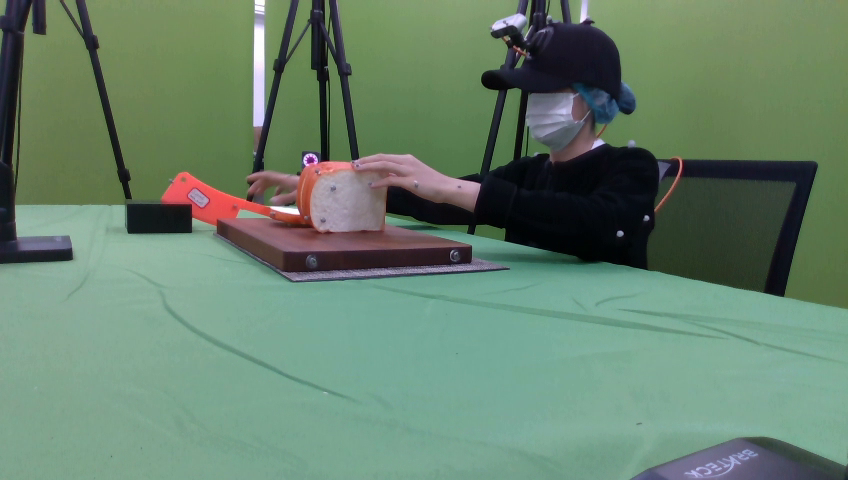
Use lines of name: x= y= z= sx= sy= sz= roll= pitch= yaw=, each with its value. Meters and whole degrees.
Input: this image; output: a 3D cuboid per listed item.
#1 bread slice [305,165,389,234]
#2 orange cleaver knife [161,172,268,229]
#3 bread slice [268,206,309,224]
bread slice: x=-0.115 y=-0.058 z=0.915 sx=0.135 sy=0.107 sz=0.018 roll=-9 pitch=20 yaw=-34
orange cleaver knife: x=-0.372 y=-0.061 z=1.121 sx=0.212 sy=0.077 sz=0.012 roll=20 pitch=-6 yaw=-30
bread slice: x=-0.195 y=-0.040 z=1.015 sx=0.132 sy=0.019 sz=0.104 roll=1 pitch=8 yaw=-37
